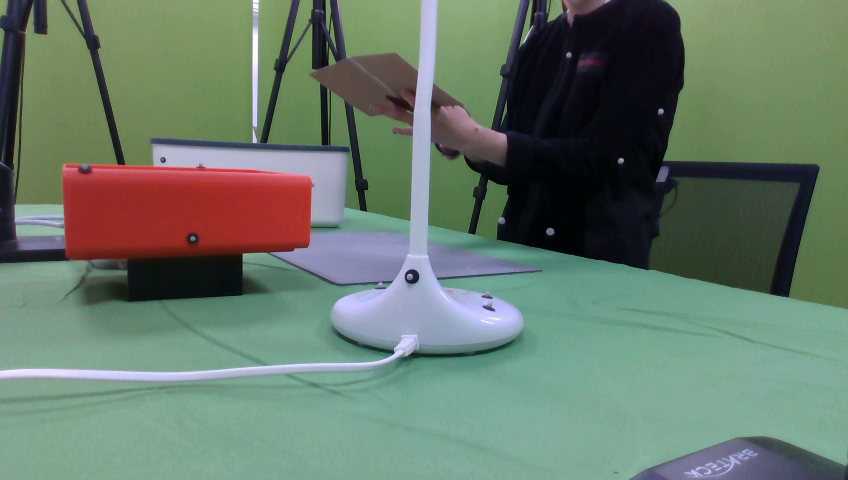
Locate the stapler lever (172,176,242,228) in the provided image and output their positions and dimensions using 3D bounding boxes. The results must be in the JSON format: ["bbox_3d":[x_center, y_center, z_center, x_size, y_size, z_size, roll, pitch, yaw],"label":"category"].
[{"bbox_3d":[-0.218,-0.041,0.618,0.027,0.040,0.118,18,11,-2],"label":"stapler lever"}]

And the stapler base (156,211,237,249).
[{"bbox_3d":[-0.227,-0.017,0.624,0.041,0.024,0.130,18,10,-2],"label":"stapler base"}]

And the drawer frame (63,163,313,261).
[{"bbox_3d":[-0.248,-0.036,0.626,0.215,0.082,0.200,-3,9,-31],"label":"drawer frame"}]

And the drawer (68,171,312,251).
[{"bbox_3d":[-0.247,-0.036,0.629,0.213,0.073,0.193,-3,9,-30],"label":"drawer"}]

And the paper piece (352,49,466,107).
[{"bbox_3d":[-0.024,-0.232,0.875,0.139,0.008,0.135,32,-4,-34],"label":"paper piece"}]

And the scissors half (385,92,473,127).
[{"bbox_3d":[0.011,-0.217,0.986,0.176,0.040,0.013,5,1,-36],"label":"scissors half"}]

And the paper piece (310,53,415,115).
[{"bbox_3d":[-0.101,-0.247,0.980,0.136,0.004,0.134,30,-16,-32],"label":"paper piece"}]

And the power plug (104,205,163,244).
[{"bbox_3d":[-0.390,-0.021,0.815,0.073,0.052,0.035,-1,7,-27],"label":"power plug"}]

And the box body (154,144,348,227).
[{"bbox_3d":[-0.357,-0.119,1.264,0.365,0.160,0.253,0,7,-18],"label":"box body"}]

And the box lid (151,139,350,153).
[{"bbox_3d":[-0.352,-0.191,1.256,0.373,0.015,0.262,0,8,-18],"label":"box lid"}]

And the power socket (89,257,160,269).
[{"bbox_3d":[-0.409,0.004,0.793,0.072,0.032,0.225,-2,8,-38],"label":"power socket"}]

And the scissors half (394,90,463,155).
[{"bbox_3d":[0.003,-0.196,0.984,0.176,0.040,0.012,42,-15,-32],"label":"scissors half"}]

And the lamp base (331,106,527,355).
[{"bbox_3d":[0.006,-0.012,0.478,0.161,0.180,0.179,2,10,2],"label":"lamp base"}]
